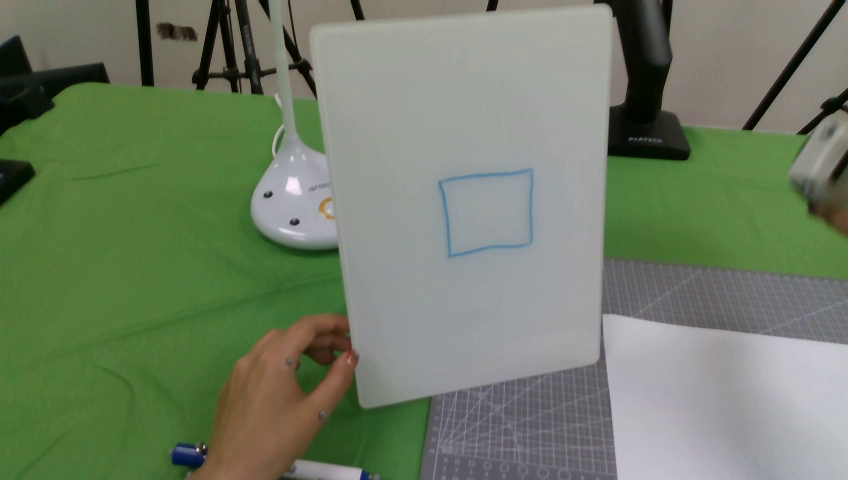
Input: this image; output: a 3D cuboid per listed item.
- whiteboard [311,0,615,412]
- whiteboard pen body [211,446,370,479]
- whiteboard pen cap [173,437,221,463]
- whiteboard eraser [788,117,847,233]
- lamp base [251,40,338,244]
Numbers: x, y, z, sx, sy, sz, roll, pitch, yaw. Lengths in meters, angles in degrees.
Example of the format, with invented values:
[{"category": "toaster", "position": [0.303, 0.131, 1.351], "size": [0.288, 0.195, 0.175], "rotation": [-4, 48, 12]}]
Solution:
[{"category": "whiteboard", "position": [0.028, -0.038, 0.526], "size": [0.218, 0.307, 0.142], "rotation": [-8, 22, -10]}, {"category": "whiteboard pen body", "position": [-0.110, 0.166, 0.451], "size": [0.141, 0.017, 0.017], "rotation": [6, 40, 4]}, {"category": "whiteboard pen cap", "position": [-0.169, 0.158, 0.454], "size": [0.033, 0.018, 0.018], "rotation": [6, 40, 2]}, {"category": "whiteboard eraser", "position": [0.348, -0.049, 0.500], "size": [0.113, 0.055, 0.041], "rotation": [31, 8, -25]}, {"category": "lamp base", "position": [-0.125, -0.114, 0.662], "size": [0.161, 0.182, 0.177], "rotation": [-28, 46, -31]}]
